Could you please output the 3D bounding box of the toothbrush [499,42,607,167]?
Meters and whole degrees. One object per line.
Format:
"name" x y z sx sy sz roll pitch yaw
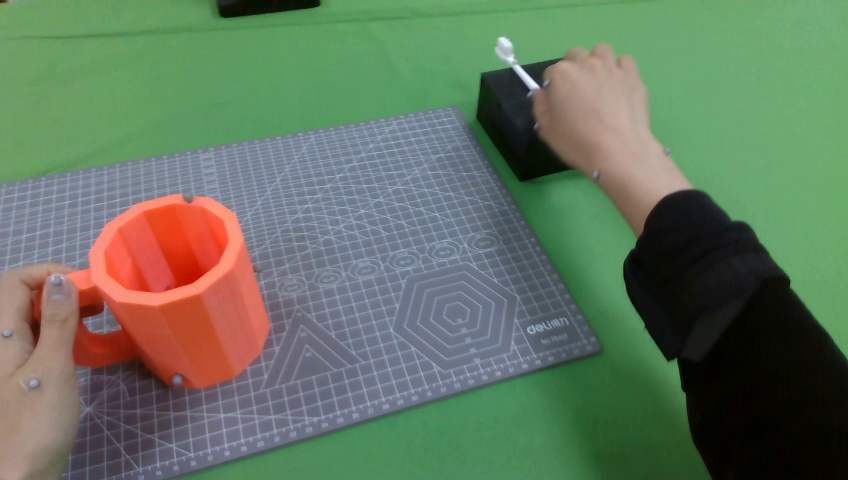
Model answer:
"toothbrush" 0.110 -0.124 0.536 0.014 0.017 0.180 -17 52 -14

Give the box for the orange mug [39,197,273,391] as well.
"orange mug" -0.165 0.040 0.385 0.126 0.101 0.082 -14 51 -20
